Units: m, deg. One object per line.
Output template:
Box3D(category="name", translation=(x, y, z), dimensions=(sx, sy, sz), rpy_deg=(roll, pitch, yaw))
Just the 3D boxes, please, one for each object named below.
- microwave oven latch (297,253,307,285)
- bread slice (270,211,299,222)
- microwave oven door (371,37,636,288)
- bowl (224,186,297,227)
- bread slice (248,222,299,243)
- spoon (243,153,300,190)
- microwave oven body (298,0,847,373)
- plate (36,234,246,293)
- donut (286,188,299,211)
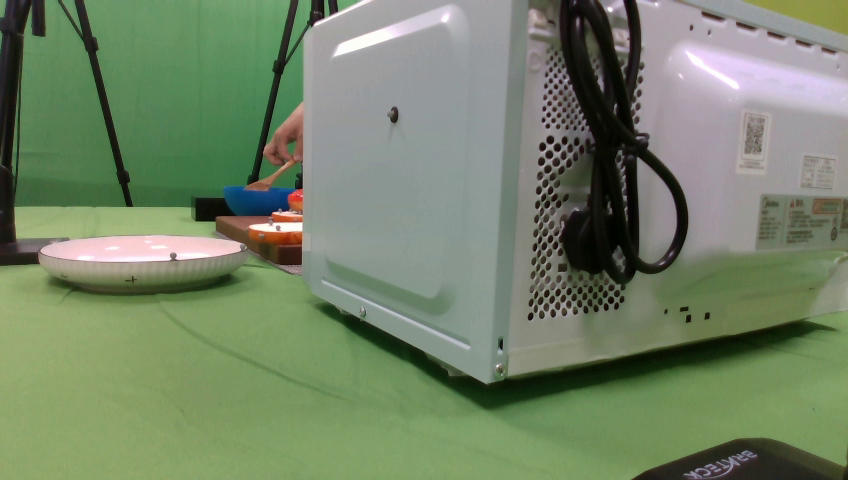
Box3D(category="microwave oven latch", translation=(-0.082, 0.027, 0.582), dimensions=(0.079, 0.029, 0.030), rpy_deg=(-1, 7, -32))
Box3D(category="bread slice", translation=(-0.198, -0.038, 1.051), dimensions=(0.132, 0.019, 0.104), rpy_deg=(-1, 7, -31))
Box3D(category="microwave oven door", translation=(0.109, -0.080, 0.686), dimensions=(0.358, 0.243, 0.039), rpy_deg=(-2, 9, -33))
Box3D(category="bowl", translation=(-0.330, -0.068, 1.230), dimensions=(0.151, 0.077, 0.151), rpy_deg=(3, 7, 0))
Box3D(category="bread slice", translation=(-0.174, -0.012, 0.844), dimensions=(0.135, 0.018, 0.106), rpy_deg=(-6, 10, -44))
Box3D(category="spoon", translation=(-0.302, -0.144, 1.274), dimensions=(0.194, 0.041, 0.021), rpy_deg=(-42, -9, -18))
Box3D(category="microwave oven body", translation=(0.151, -0.055, 0.543), dimensions=(0.444, 0.260, 0.324), rpy_deg=(-2, 7, -33))
Box3D(category="plate", translation=(-0.305, 0.026, 0.668), dimensions=(0.208, 0.039, 0.207), rpy_deg=(3, 7, 0))
Box3D(category="donut", translation=(-0.190, -0.068, 1.055), dimensions=(0.099, 0.048, 0.099), rpy_deg=(3, 7, 0))
